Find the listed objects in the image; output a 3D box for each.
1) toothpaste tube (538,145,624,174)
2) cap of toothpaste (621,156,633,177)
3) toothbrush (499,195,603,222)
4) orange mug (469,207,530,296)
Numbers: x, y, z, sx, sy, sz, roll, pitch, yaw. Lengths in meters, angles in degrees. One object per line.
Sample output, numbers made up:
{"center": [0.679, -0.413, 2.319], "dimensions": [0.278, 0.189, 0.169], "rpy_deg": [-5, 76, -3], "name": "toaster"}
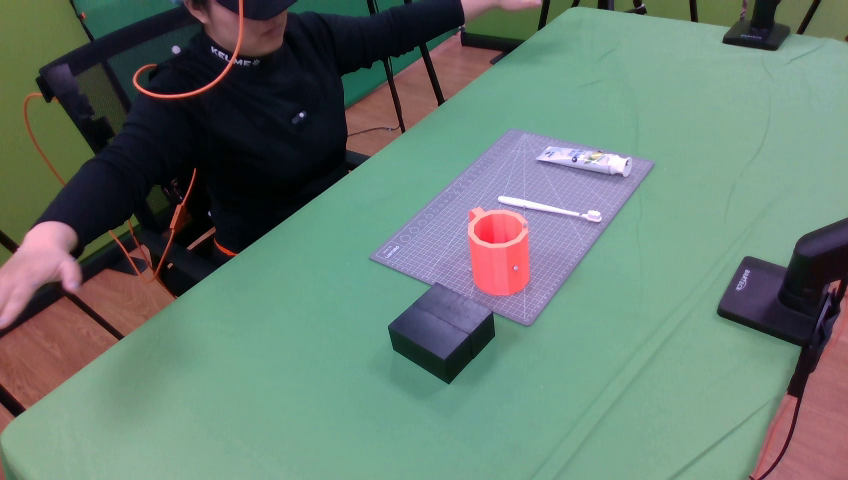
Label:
{"center": [0.292, -0.148, 1.097], "dimensions": [0.164, 0.034, 0.055], "rpy_deg": [17, 41, 34], "name": "toothpaste tube"}
{"center": [0.352, -0.128, 1.051], "dimensions": [0.011, 0.037, 0.037], "rpy_deg": [18, 48, 35], "name": "cap of toothpaste"}
{"center": [0.209, -0.055, 1.010], "dimensions": [0.180, 0.017, 0.014], "rpy_deg": [13, 62, 27], "name": "toothbrush"}
{"center": [0.104, 0.008, 0.894], "dimensions": [0.084, 0.101, 0.125], "rpy_deg": [-22, 46, -14], "name": "orange mug"}
